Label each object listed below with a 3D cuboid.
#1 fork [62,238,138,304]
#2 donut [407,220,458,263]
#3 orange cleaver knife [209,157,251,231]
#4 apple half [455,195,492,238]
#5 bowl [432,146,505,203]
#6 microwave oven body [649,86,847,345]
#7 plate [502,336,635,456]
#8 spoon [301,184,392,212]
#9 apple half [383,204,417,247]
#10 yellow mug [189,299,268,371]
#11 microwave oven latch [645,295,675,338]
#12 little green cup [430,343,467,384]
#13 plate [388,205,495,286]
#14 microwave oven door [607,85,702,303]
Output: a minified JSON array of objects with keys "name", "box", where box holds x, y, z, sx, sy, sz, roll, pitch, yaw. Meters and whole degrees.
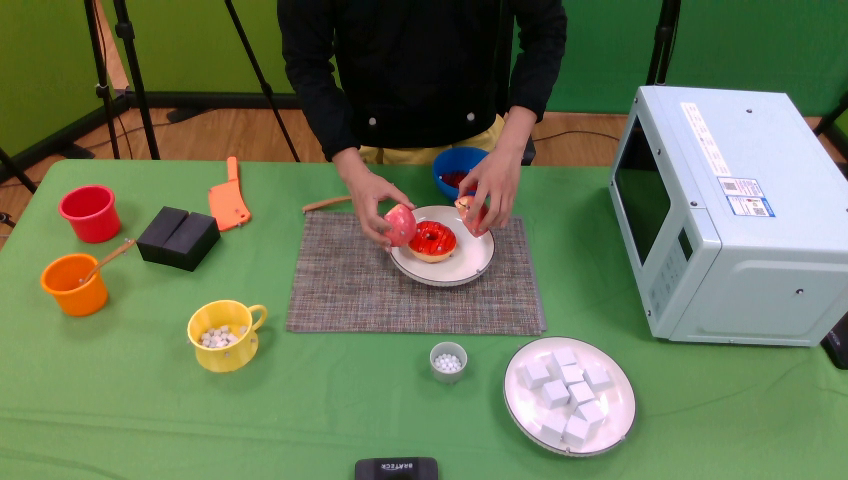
[{"name":"fork","box":[-0.547,0.053,1.018,0.207,0.019,0.028,-36,41,23]},{"name":"donut","box":[0.016,0.002,1.166,0.099,0.048,0.098,3,43,-3]},{"name":"orange cleaver knife","box":[-0.409,-0.099,1.266,0.077,0.012,0.210,-13,50,-10]},{"name":"apple half","box":[0.100,-0.049,1.140,0.053,0.075,0.080,-31,32,10]},{"name":"bowl","box":[0.091,-0.124,1.287,0.151,0.077,0.150,2,46,-2]},{"name":"microwave oven body","box":[0.568,-0.053,1.118,0.326,0.261,0.439,2,45,-1]},{"name":"plate","box":[0.225,0.248,0.964,0.208,0.039,0.206,2,46,-2]},{"name":"spoon","box":[-0.162,-0.086,1.270,0.194,0.022,0.041,-11,63,-15]},{"name":"apple half","box":[-0.038,-0.024,1.096,0.032,0.081,0.081,15,43,42]},{"name":"yellow mug","box":[-0.316,0.148,1.002,0.131,0.064,0.099,-33,56,-31]},{"name":"microwave oven latch","box":[0.412,0.134,1.061,0.030,0.029,0.078,3,45,0]},{"name":"little green cup","box":[0.039,0.203,0.994,0.061,0.039,0.061,2,46,-2]},{"name":"plate","box":[0.033,0.014,1.171,0.209,0.038,0.208,2,46,-2]},{"name":"microwave oven door","box":[0.423,-0.094,1.140,0.039,0.245,0.353,2,46,-1]}]
